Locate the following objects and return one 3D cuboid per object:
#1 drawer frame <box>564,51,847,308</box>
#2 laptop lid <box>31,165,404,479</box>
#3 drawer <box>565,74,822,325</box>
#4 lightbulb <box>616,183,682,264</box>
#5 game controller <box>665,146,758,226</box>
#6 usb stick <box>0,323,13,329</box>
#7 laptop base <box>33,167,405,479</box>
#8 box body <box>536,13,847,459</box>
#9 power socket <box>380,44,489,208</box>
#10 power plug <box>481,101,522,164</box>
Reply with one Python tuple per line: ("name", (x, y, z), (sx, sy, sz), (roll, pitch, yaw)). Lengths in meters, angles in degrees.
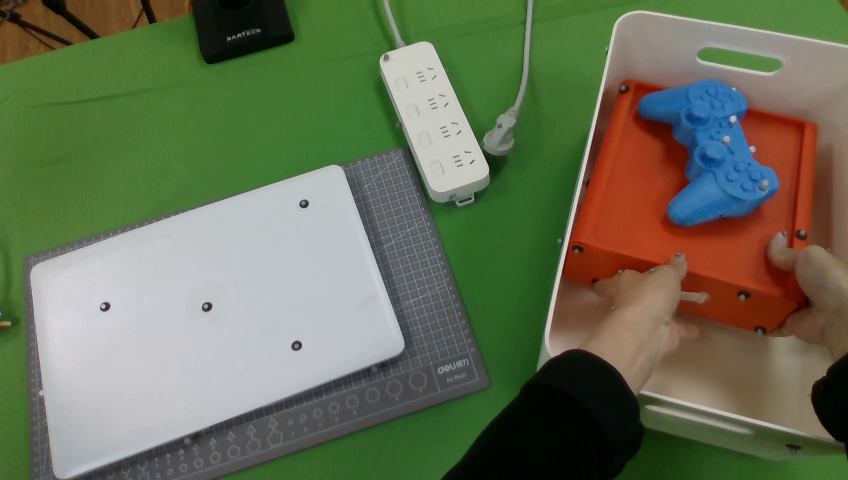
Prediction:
("drawer frame", (0.241, -0.052, 0.551), (0.083, 0.213, 0.202), (-41, 98, 1))
("laptop lid", (-0.220, 0.071, 0.626), (0.357, 0.013, 0.239), (-18, 69, -5))
("drawer", (0.261, -0.045, 0.592), (0.194, 0.074, 0.210), (16, 68, 14))
("lightbulb", (0.213, -0.016, 0.590), (0.059, 0.060, 0.106), (-4, 48, 2))
("game controller", (0.266, -0.089, 0.571), (0.097, 0.052, 0.154), (-1, 61, -2))
("usb stick", (-0.466, 0.084, 0.634), (0.059, 0.021, 0.027), (7, 67, -30))
("laptop base", (-0.220, 0.073, 0.637), (0.354, 0.023, 0.233), (-20, 70, -6))
("box body", (0.261, -0.005, 0.566), (0.253, 0.161, 0.362), (13, 67, 9))
("power socket", (0.009, -0.141, 0.712), (0.072, 0.033, 0.224), (-18, 66, -6))
("power plug", (0.096, -0.120, 0.695), (0.035, 0.053, 0.072), (40, 56, 23))
